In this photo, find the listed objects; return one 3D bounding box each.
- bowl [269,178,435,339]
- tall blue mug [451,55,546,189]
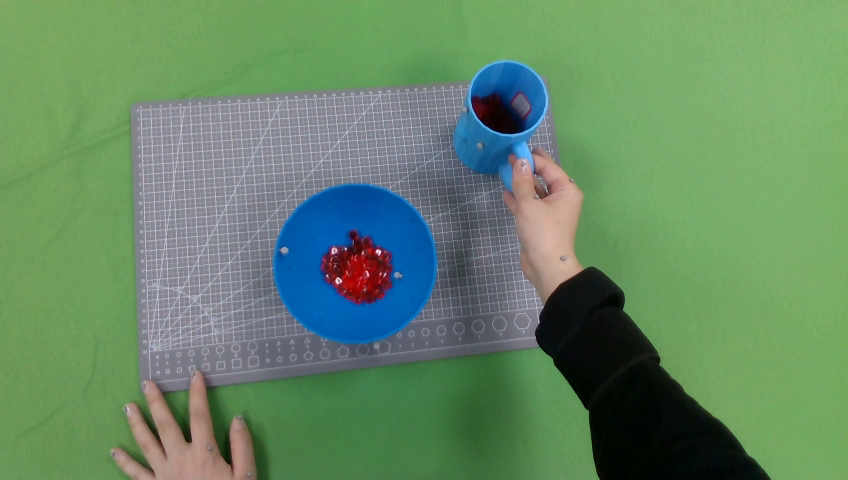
[{"bbox_3d":[-0.067,0.022,0.589,0.151,0.077,0.151,1,80,-6],"label":"bowl"},{"bbox_3d":[0.083,-0.114,0.613,0.107,0.108,0.077,42,78,4],"label":"tall blue mug"}]
